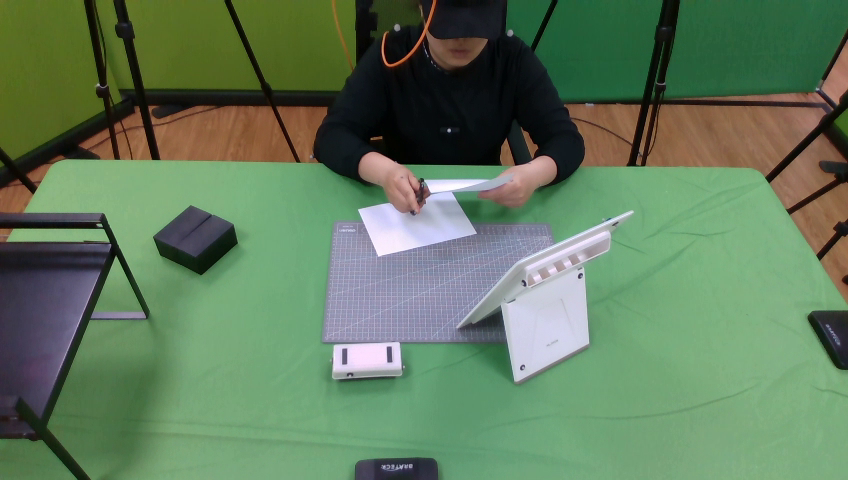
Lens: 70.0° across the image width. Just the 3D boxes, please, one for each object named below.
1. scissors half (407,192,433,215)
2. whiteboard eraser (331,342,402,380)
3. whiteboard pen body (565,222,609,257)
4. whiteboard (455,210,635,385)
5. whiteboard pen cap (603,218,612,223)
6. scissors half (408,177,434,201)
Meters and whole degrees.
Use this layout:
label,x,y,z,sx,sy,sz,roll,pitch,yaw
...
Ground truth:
label,x,y,z,sx,sy,sz,roll,pitch,yaw
scissors half,-0.007,-0.071,1.129,0.013,0.175,0.040,4,86,-15
whiteboard eraser,-0.094,0.198,0.986,0.113,0.042,0.055,-2,44,-6
whiteboard pen body,0.334,-0.004,1.229,0.141,0.017,0.017,-33,56,-30
whiteboard,0.211,0.111,0.955,0.217,0.306,0.143,-21,71,-23
whiteboard pen cap,0.379,-0.031,1.255,0.033,0.018,0.018,-33,57,-29
scissors half,-0.004,-0.091,1.127,0.013,0.040,0.174,9,11,-16
